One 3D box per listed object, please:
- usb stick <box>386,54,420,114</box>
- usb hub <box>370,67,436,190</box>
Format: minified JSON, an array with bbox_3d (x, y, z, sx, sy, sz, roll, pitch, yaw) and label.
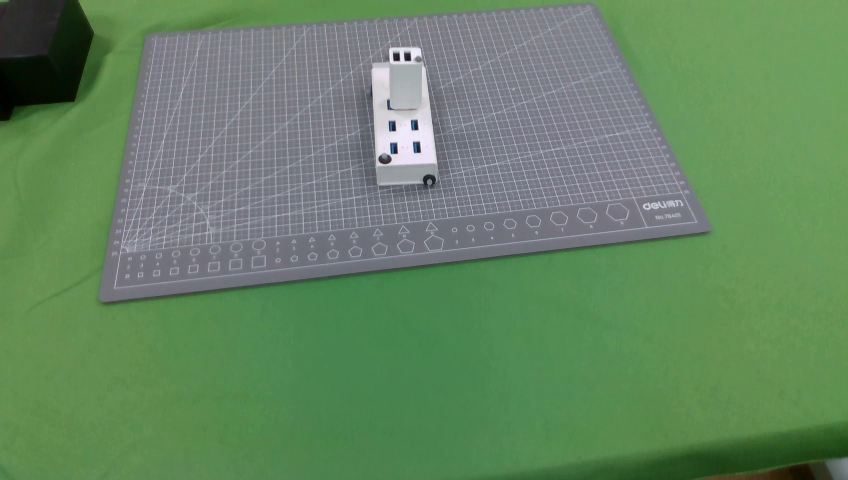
[{"bbox_3d":[-0.016,-0.120,0.491,0.027,0.059,0.021,-7,54,-3],"label":"usb stick"},{"bbox_3d":[-0.020,-0.097,0.510,0.049,0.025,0.124,-3,54,-3],"label":"usb hub"}]
